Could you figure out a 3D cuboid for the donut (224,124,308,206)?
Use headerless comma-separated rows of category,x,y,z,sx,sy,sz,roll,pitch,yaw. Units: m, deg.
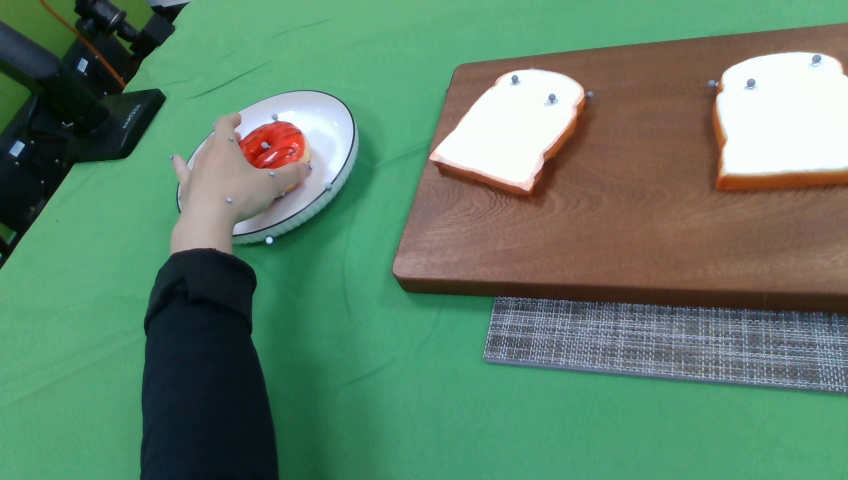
donut,-0.170,-0.080,0.647,0.099,0.049,0.098,-13,53,18

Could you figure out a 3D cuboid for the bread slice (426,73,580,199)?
bread slice,0.078,-0.100,0.550,0.106,0.018,0.134,19,65,32

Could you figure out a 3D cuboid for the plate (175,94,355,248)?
plate,-0.167,-0.073,0.654,0.209,0.038,0.207,-11,51,14

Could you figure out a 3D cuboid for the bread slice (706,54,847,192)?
bread slice,0.273,-0.094,0.467,0.104,0.019,0.130,-2,55,19
